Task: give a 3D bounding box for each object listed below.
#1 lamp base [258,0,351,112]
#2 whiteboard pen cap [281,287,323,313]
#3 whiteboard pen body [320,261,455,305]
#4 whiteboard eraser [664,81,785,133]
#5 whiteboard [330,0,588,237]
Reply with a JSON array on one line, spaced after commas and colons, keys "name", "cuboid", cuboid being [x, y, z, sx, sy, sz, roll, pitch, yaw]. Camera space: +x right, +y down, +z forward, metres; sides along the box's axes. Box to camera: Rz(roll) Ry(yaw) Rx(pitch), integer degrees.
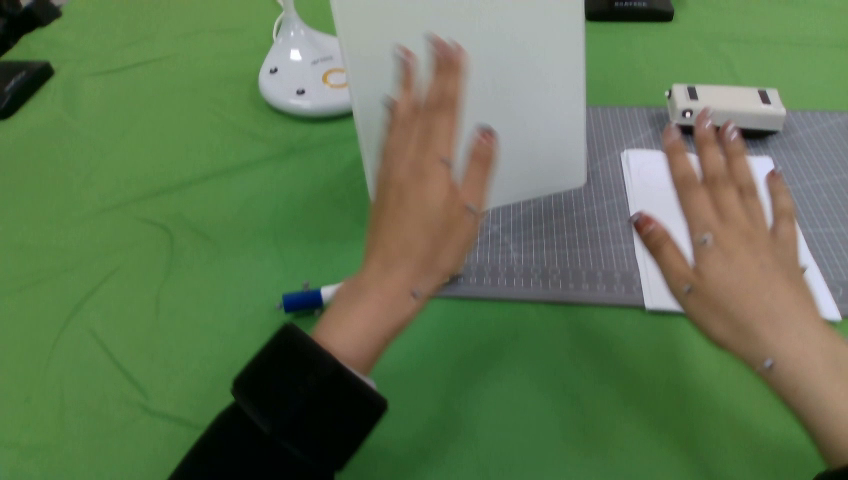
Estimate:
[{"name": "lamp base", "cuboid": [-0.136, -0.267, 0.702, 0.160, 0.182, 0.177, -35, 51, -27]}, {"name": "whiteboard pen cap", "cuboid": [-0.100, 0.049, 0.498, 0.033, 0.018, 0.018, -10, 46, -12]}, {"name": "whiteboard pen body", "cuboid": [-0.042, 0.038, 0.509, 0.141, 0.017, 0.017, -11, 46, -10]}, {"name": "whiteboard eraser", "cuboid": [0.321, -0.143, 0.652, 0.112, 0.042, 0.055, 6, 47, 8]}, {"name": "whiteboard", "cuboid": [0.022, -0.190, 0.573, 0.217, 0.308, 0.142, -14, 27, -9]}]
